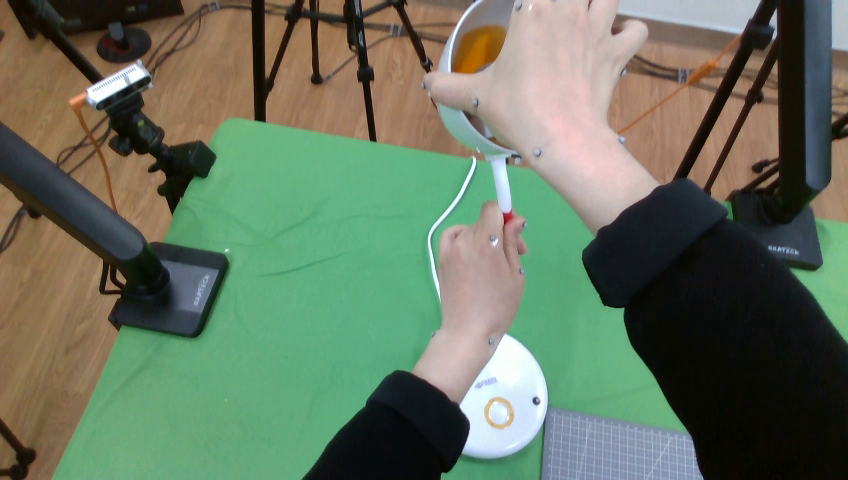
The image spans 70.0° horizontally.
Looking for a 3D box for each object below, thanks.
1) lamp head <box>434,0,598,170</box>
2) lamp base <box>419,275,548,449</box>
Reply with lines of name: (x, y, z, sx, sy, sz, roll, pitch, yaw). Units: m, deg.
lamp head: (0.058, -0.114, 0.466, 0.113, 0.122, 0.112, 1, 86, -12)
lamp base: (0.071, 0.129, 0.690, 0.161, 0.181, 0.177, -27, 62, -18)
